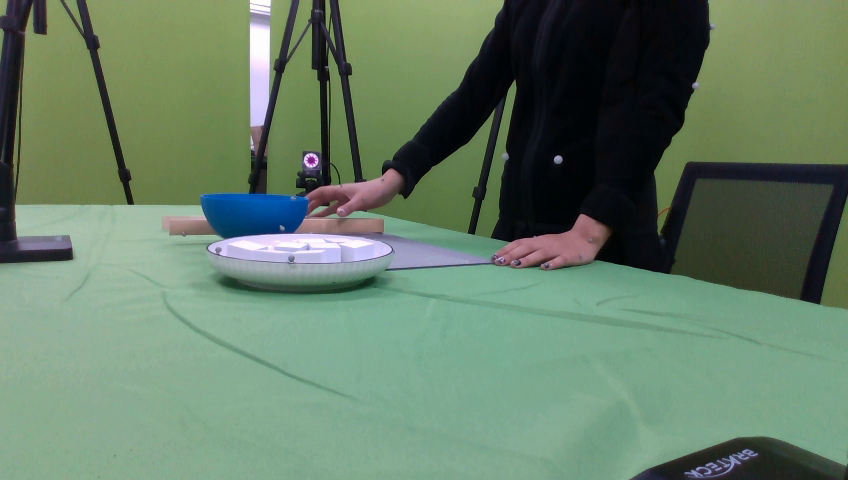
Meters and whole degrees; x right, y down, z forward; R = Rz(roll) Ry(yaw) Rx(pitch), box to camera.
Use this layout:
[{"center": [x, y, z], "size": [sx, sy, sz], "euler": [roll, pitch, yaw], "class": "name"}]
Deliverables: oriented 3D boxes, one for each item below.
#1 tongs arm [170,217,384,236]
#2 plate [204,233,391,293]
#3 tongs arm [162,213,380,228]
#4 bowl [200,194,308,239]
[{"center": [-0.233, -0.024, 1.039], "size": [0.387, 0.026, 0.050], "euler": [-2, 5, -32], "class": "tongs arm"}, {"center": [-0.143, 0.025, 0.697], "size": [0.208, 0.039, 0.207], "euler": [3, 9, 0], "class": "plate"}, {"center": [-0.271, -0.033, 1.113], "size": [0.389, 0.027, 0.028], "euler": [0, 1, -18], "class": "tongs arm"}, {"center": [-0.245, -0.025, 0.879], "size": [0.151, 0.077, 0.151], "euler": [2, 7, 0], "class": "bowl"}]
